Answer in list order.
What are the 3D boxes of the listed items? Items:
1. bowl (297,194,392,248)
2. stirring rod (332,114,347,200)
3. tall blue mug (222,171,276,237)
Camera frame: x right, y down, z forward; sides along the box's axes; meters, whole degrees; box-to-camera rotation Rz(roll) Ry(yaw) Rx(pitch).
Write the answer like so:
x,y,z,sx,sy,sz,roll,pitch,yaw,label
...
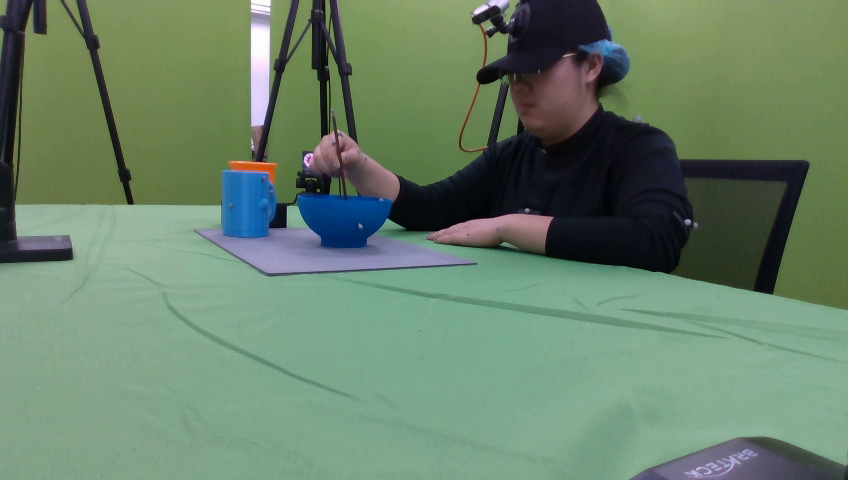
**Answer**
x,y,z,sx,sy,sz,roll,pitch,yaw,label
-0.127,-0.030,0.964,0.151,0.077,0.151,2,7,0,bowl
-0.134,-0.115,0.977,0.006,0.176,0.014,-11,21,-16,stirring rod
-0.303,-0.064,1.043,0.078,0.108,0.107,1,7,-4,tall blue mug
